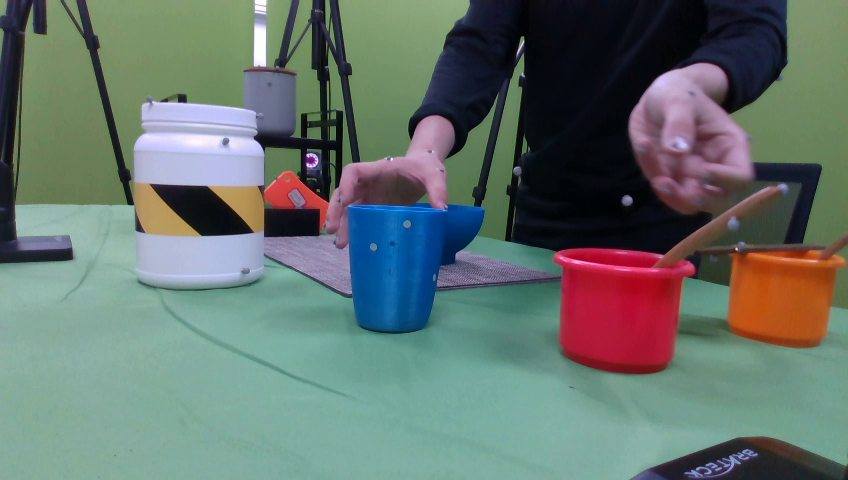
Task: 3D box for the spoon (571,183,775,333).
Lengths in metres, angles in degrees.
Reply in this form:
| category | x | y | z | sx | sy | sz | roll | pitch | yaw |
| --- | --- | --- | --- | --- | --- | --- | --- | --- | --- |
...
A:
| category | x | y | z | sx | sy | sz | roll | pitch | yaw |
| --- | --- | --- | --- | --- | --- | --- | --- | --- | --- |
| spoon | 0.160 | 0.020 | 0.413 | 0.042 | 0.021 | 0.193 | 0 | -36 | -23 |

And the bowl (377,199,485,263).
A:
| category | x | y | z | sx | sy | sz | roll | pitch | yaw |
| --- | --- | --- | --- | --- | --- | --- | --- | --- | --- |
| bowl | 0.008 | -0.012 | 0.842 | 0.151 | 0.077 | 0.151 | 3 | 8 | 0 |

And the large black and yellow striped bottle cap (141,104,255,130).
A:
| category | x | y | z | sx | sy | sz | roll | pitch | yaw |
| --- | --- | --- | --- | --- | --- | --- | --- | --- | --- |
| large black and yellow striped bottle cap | -0.241 | -0.131 | 0.650 | 0.115 | 0.019 | 0.115 | 3 | 8 | 0 |

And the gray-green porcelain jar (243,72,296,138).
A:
| category | x | y | z | sx | sy | sz | roll | pitch | yaw |
| --- | --- | --- | --- | --- | --- | --- | --- | --- | --- |
| gray-green porcelain jar | -0.322 | -0.279 | 1.263 | 0.106 | 0.126 | 0.106 | 3 | 8 | 0 |

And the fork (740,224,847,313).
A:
| category | x | y | z | sx | sy | sz | roll | pitch | yaw |
| --- | --- | --- | --- | --- | --- | --- | --- | --- | --- |
| fork | 0.323 | 0.013 | 0.485 | 0.028 | 0.018 | 0.207 | 9 | -37 | -5 |

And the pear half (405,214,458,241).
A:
| category | x | y | z | sx | sy | sz | roll | pitch | yaw |
| --- | --- | --- | --- | --- | --- | --- | --- | --- | --- |
| pear half | 0.007 | -0.020 | 0.847 | 0.070 | 0.031 | 0.088 | 2 | 10 | 40 |

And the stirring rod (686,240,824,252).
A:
| category | x | y | z | sx | sy | sz | roll | pitch | yaw |
| --- | --- | --- | --- | --- | --- | --- | --- | --- | --- |
| stirring rod | 0.289 | 0.005 | 0.525 | 0.177 | 0.006 | 0.014 | -1 | 7 | -26 |

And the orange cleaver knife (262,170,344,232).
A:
| category | x | y | z | sx | sy | sz | roll | pitch | yaw |
| --- | --- | --- | --- | --- | --- | --- | --- | --- | --- |
| orange cleaver knife | -0.201 | -0.056 | 1.136 | 0.212 | 0.077 | 0.012 | 31 | -4 | -31 |

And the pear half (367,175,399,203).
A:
| category | x | y | z | sx | sy | sz | roll | pitch | yaw |
| --- | --- | --- | --- | --- | --- | --- | --- | --- | --- |
| pear half | -0.064 | -0.061 | 1.077 | 0.055 | 0.110 | 0.077 | 9 | 13 | 39 |

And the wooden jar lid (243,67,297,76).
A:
| category | x | y | z | sx | sy | sz | roll | pitch | yaw |
| --- | --- | --- | --- | --- | --- | --- | --- | --- | --- |
| wooden jar lid | -0.319 | -0.342 | 1.254 | 0.108 | 0.020 | 0.108 | 3 | 8 | 0 |

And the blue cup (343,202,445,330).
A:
| category | x | y | z | sx | sy | sz | roll | pitch | yaw |
| --- | --- | --- | --- | --- | --- | --- | --- | --- | --- |
| blue cup | -0.027 | 0.021 | 0.510 | 0.093 | 0.100 | 0.092 | 3 | 5 | 0 |

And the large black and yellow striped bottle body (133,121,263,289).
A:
| category | x | y | z | sx | sy | sz | roll | pitch | yaw |
| --- | --- | --- | --- | --- | --- | --- | --- | --- | --- |
| large black and yellow striped bottle body | -0.243 | -0.048 | 0.659 | 0.131 | 0.184 | 0.130 | 2 | 7 | 0 |
